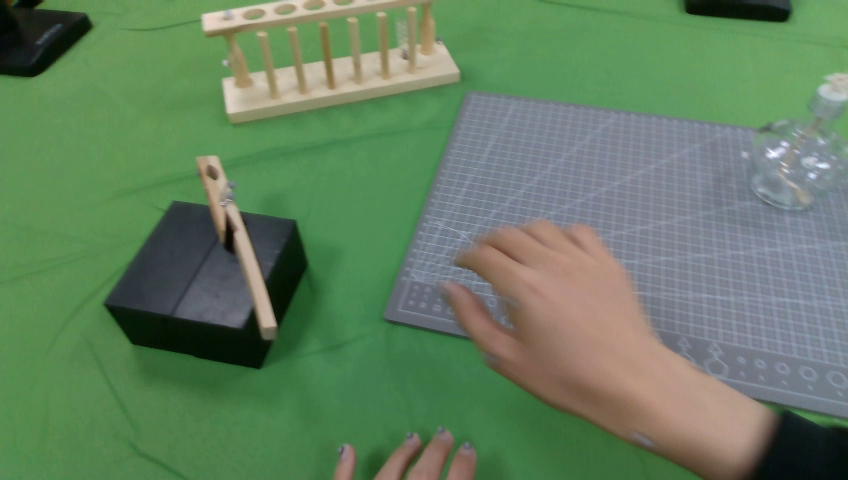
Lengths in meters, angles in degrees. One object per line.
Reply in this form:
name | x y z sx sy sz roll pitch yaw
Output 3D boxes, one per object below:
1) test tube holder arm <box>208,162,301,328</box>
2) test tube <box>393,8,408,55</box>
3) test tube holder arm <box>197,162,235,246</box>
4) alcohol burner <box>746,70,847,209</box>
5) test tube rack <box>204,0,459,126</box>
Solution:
test tube holder arm | -0.128 -0.003 0.434 0.013 0.015 0.176 -28 52 -18
test tube | -0.026 -0.257 0.610 0.017 0.151 0.017 -2 45 2
test tube holder arm | -0.155 -0.029 0.459 0.010 0.015 0.087 -24 51 -15
alcohol burner | 0.311 -0.083 0.491 0.078 0.120 0.077 0 47 0
test tube rack | -0.088 -0.193 0.621 0.243 0.086 0.066 -13 49 -10
